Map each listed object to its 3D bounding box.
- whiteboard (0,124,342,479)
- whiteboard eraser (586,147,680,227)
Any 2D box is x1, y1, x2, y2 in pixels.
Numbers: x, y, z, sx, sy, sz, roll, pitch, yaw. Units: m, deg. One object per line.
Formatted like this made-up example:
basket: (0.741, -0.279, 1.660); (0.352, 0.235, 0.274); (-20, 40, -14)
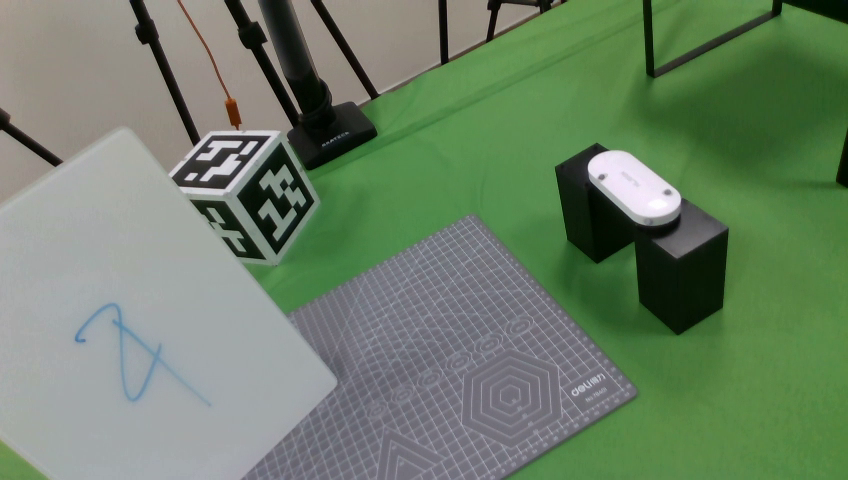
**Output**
whiteboard: (-0.263, 0.086, 0.547); (0.217, 0.308, 0.143); (-43, 26, -21)
whiteboard eraser: (0.177, -0.049, 0.520); (0.041, 0.019, 0.100); (-26, 43, -4)
